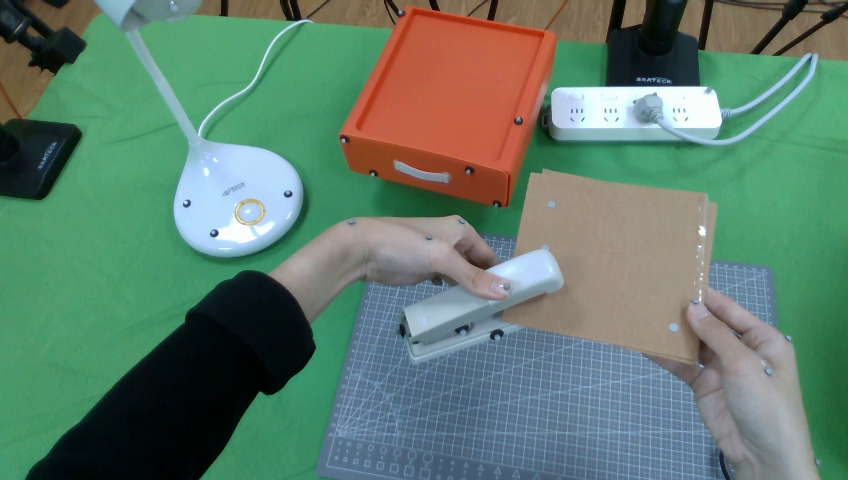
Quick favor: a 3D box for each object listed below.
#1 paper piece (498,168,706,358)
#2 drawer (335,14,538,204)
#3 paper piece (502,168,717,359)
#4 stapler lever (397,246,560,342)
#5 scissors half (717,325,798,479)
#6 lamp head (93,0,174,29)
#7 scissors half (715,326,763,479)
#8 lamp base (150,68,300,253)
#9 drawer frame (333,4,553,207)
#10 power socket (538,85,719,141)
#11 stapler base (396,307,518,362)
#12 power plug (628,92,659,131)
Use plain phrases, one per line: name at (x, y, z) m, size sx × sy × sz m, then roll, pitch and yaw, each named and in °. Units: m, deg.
paper piece at (0.134, 0.010, 0.449) m, size 0.135 × 0.009 × 0.137 m, roll 9°, pitch 65°, yaw 14°
drawer at (0.027, -0.162, 0.720) m, size 0.194 × 0.074 × 0.210 m, roll 15°, pitch 62°, yaw 13°
paper piece at (0.143, 0.011, 0.459) m, size 0.135 × 0.004 × 0.135 m, roll 14°, pitch 64°, yaw 19°
stapler lever at (0.038, 0.037, 0.425) m, size 0.118 × 0.040 × 0.026 m, roll -19°, pitch 57°, yaw -2°
scissors half at (0.324, 0.164, 0.599) m, size 0.040 × 0.013 × 0.173 m, roll -7°, pitch 59°, yaw -4°
lamp head at (-0.224, -0.234, 0.439) m, size 0.123 × 0.112 × 0.112 m, roll 46°, pitch 68°, yaw -15°
scissors half at (0.304, 0.164, 0.598) m, size 0.040 × 0.013 × 0.174 m, roll 10°, pitch 58°, yaw 0°
lamp base at (-0.251, -0.100, 0.698) m, size 0.177 × 0.182 × 0.160 m, roll 38°, pitch 69°, yaw 26°
drawer frame at (0.028, -0.166, 0.725) m, size 0.201 × 0.083 × 0.212 m, roll 15°, pitch 64°, yaw 13°
power socket at (0.263, -0.165, 0.782) m, size 0.226 × 0.033 × 0.071 m, roll 2°, pitch 61°, yaw 5°
stapler base at (0.043, 0.049, 0.447) m, size 0.130 × 0.024 × 0.041 m, roll -19°, pitch 58°, yaw -1°
power plug at (0.269, -0.151, 0.747) m, size 0.035 × 0.053 × 0.072 m, roll 12°, pitch 62°, yaw 10°
